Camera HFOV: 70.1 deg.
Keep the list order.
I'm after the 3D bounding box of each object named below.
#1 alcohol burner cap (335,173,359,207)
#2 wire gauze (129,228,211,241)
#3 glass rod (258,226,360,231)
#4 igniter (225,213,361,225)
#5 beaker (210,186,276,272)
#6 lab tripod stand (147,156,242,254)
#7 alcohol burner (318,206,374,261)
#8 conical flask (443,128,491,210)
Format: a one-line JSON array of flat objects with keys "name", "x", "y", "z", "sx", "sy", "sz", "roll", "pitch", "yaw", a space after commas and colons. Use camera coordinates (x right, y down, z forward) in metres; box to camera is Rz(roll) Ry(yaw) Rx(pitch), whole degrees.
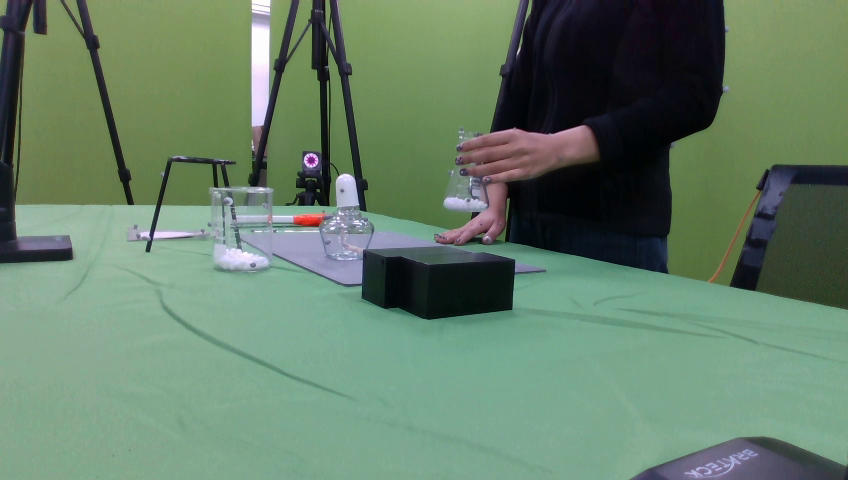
[{"name": "alcohol burner cap", "x": -0.108, "y": -0.068, "z": 0.829, "sx": 0.034, "sy": 0.048, "sz": 0.034, "roll": -7, "pitch": 4, "yaw": 1}, {"name": "wire gauze", "x": -0.419, "y": -0.010, "z": 0.999, "sx": 0.122, "sy": 0.011, "sz": 0.124, "roll": 0, "pitch": 6, "yaw": -25}, {"name": "glass rod", "x": -0.215, "y": -0.022, "z": 1.151, "sx": 0.201, "sy": 0.008, "sz": 0.008, "roll": -2, "pitch": 8, "yaw": -27}, {"name": "igniter", "x": -0.257, "y": -0.042, "z": 1.221, "sx": 0.278, "sy": 0.025, "sz": 0.057, "roll": -2, "pitch": -2, "yaw": -32}, {"name": "beaker", "x": -0.224, "y": -0.014, "z": 0.738, "sx": 0.084, "sy": 0.100, "sz": 0.074, "roll": 4, "pitch": 7, "yaw": 16}, {"name": "lab tripod stand", "x": -0.310, "y": -0.050, "z": 0.858, "sx": 0.148, "sy": 0.131, "sz": 0.148, "roll": 4, "pitch": 6, "yaw": 0}, {"name": "alcohol burner", "x": -0.107, "y": -0.032, "z": 0.833, "sx": 0.078, "sy": 0.119, "sz": 0.078, "roll": 1, "pitch": 6, "yaw": 0}, {"name": "conical flask", "x": 0.070, "y": -0.111, "z": 0.935, "sx": 0.075, "sy": 0.122, "sz": 0.075, "roll": 3, "pitch": 10, "yaw": 0}]
